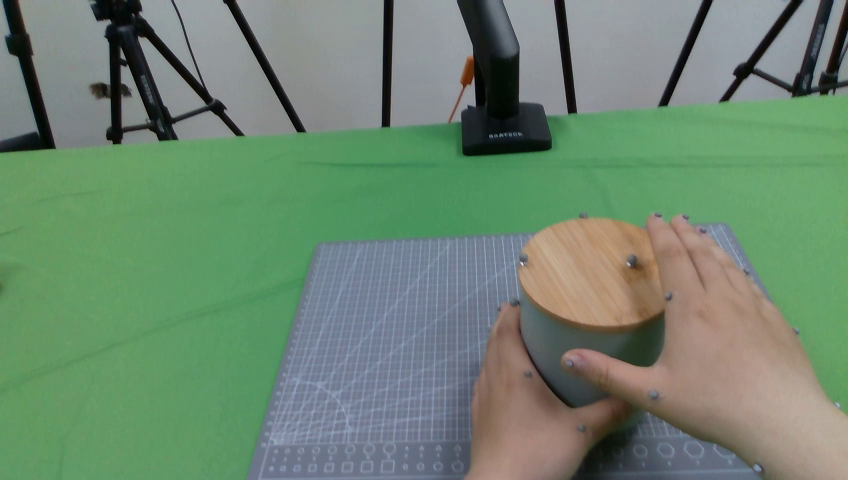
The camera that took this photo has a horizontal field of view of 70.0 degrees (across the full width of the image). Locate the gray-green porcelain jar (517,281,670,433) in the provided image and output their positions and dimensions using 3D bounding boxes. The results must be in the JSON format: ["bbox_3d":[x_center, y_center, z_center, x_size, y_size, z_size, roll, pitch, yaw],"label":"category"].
[{"bbox_3d":[0.124,0.074,0.459,0.106,0.128,0.105,-4,38,4],"label":"gray-green porcelain jar"}]

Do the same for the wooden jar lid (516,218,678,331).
[{"bbox_3d":[0.118,0.025,0.420,0.108,0.021,0.107,-5,39,4],"label":"wooden jar lid"}]
